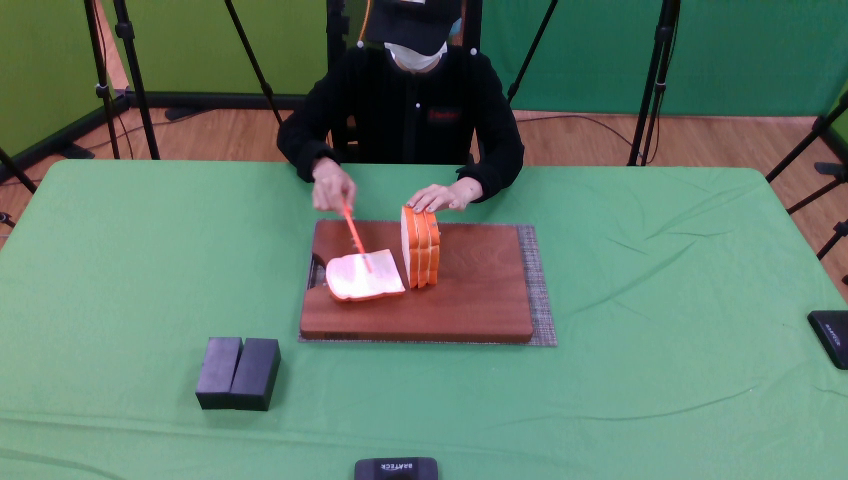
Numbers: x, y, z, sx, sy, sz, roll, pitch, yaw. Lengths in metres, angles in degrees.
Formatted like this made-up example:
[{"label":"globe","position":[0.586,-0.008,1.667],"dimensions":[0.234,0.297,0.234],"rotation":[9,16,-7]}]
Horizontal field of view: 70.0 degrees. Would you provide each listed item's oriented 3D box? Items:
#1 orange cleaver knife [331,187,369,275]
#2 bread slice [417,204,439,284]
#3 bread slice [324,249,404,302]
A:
[{"label":"orange cleaver knife","position":[-0.132,-0.020,1.081],"dimensions":[0.012,0.077,0.210],"rotation":[-22,42,-6]},{"label":"bread slice","position":[0.007,0.003,1.080],"dimensions":[0.018,0.135,0.106],"rotation":[-10,53,-11]},{"label":"bread slice","position":[-0.113,0.065,1.084],"dimensions":[0.132,0.019,0.104],"rotation":[-8,48,-17]}]
